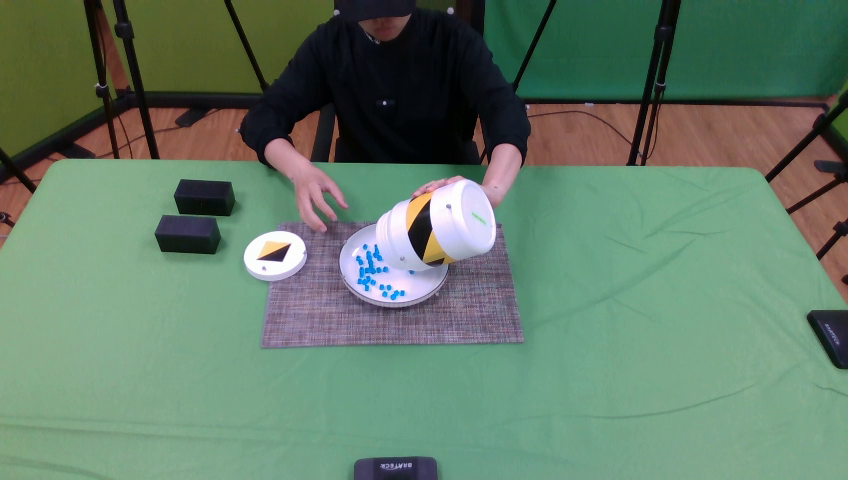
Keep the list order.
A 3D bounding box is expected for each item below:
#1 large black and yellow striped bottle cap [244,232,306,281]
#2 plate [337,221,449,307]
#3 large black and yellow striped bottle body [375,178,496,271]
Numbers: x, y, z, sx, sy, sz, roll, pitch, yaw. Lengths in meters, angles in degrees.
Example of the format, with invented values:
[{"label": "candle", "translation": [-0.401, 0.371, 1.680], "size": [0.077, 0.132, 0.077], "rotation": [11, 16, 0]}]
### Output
[{"label": "large black and yellow striped bottle cap", "translation": [-0.282, 0.030, 1.145], "size": [0.115, 0.019, 0.114], "rotation": [0, 45, 1]}, {"label": "plate", "translation": [-0.057, 0.045, 1.133], "size": [0.208, 0.039, 0.206], "rotation": [2, 46, -2]}, {"label": "large black and yellow striped bottle body", "translation": [0.017, -0.020, 1.056], "size": [0.184, 0.131, 0.130], "rotation": [-18, 36, 32]}]
